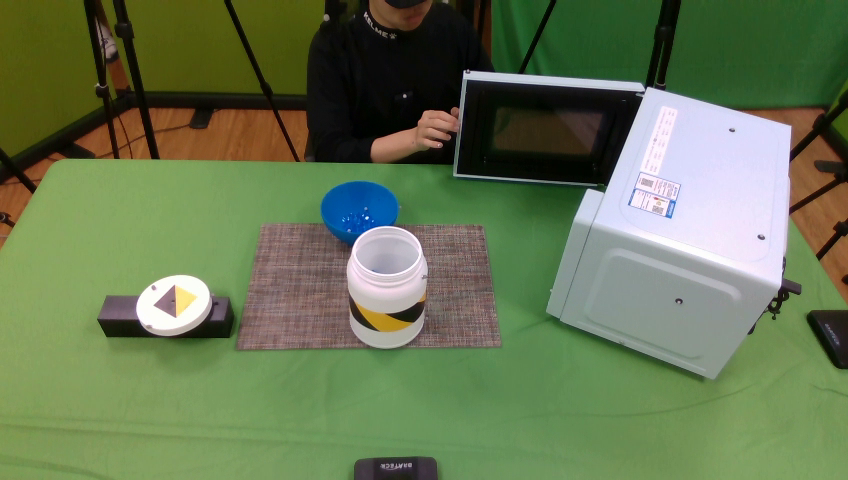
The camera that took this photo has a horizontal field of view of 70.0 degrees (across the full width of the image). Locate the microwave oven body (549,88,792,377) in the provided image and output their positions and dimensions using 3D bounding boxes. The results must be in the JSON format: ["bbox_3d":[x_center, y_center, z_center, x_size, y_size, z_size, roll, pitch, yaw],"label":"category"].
[{"bbox_3d":[0.456,-0.028,1.088,0.325,0.261,0.440,20,47,16],"label":"microwave oven body"}]

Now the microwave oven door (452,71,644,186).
[{"bbox_3d":[0.245,-0.226,1.257,0.356,0.245,0.039,4,46,0],"label":"microwave oven door"}]

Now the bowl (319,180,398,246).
[{"bbox_3d":[-0.126,-0.039,1.181,0.151,0.077,0.150,3,46,-2],"label":"bowl"}]

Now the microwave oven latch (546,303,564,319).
[{"bbox_3d":[0.242,0.102,1.081,0.030,0.029,0.079,21,48,17],"label":"microwave oven latch"}]

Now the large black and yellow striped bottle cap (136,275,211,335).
[{"bbox_3d":[-0.412,0.105,0.999,0.115,0.019,0.114,3,46,-3],"label":"large black and yellow striped bottle cap"}]

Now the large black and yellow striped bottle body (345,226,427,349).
[{"bbox_3d":[-0.062,0.078,0.998,0.131,0.185,0.130,2,46,-2],"label":"large black and yellow striped bottle body"}]
